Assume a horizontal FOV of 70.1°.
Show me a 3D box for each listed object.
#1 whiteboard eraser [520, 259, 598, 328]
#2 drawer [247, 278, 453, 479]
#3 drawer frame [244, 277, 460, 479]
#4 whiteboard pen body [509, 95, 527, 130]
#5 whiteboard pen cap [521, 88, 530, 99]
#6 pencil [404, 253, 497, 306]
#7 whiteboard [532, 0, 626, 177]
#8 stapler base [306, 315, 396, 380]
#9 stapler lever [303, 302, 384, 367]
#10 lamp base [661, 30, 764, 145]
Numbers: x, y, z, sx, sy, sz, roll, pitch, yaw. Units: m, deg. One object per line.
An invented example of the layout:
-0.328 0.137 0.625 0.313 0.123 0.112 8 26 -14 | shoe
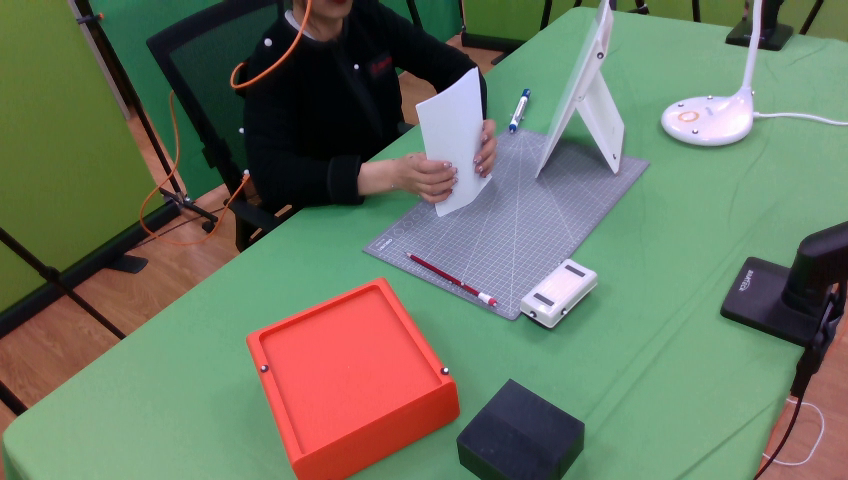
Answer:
0.189 0.076 0.843 0.055 0.042 0.113 29 53 37 | whiteboard eraser
-0.096 0.167 0.758 0.195 0.073 0.210 -22 43 -16 | drawer
-0.093 0.167 0.755 0.202 0.083 0.211 -23 43 -17 | drawer frame
0.199 -0.273 1.261 0.017 0.017 0.140 8 44 19 | whiteboard pen body
0.218 -0.312 1.301 0.018 0.018 0.033 6 46 18 | whiteboard pen cap
0.034 0.056 0.914 0.192 0.012 0.012 27 52 38 | pencil
0.321 -0.258 1.050 0.144 0.306 0.217 21 45 5 | whiteboard
-0.101 0.139 0.819 0.131 0.024 0.041 -31 37 -13 | stapler base
-0.108 0.123 0.805 0.118 0.040 0.026 -27 36 -15 | stapler lever
0.535 -0.287 1.096 0.179 0.181 0.159 -10 40 -4 | lamp base
